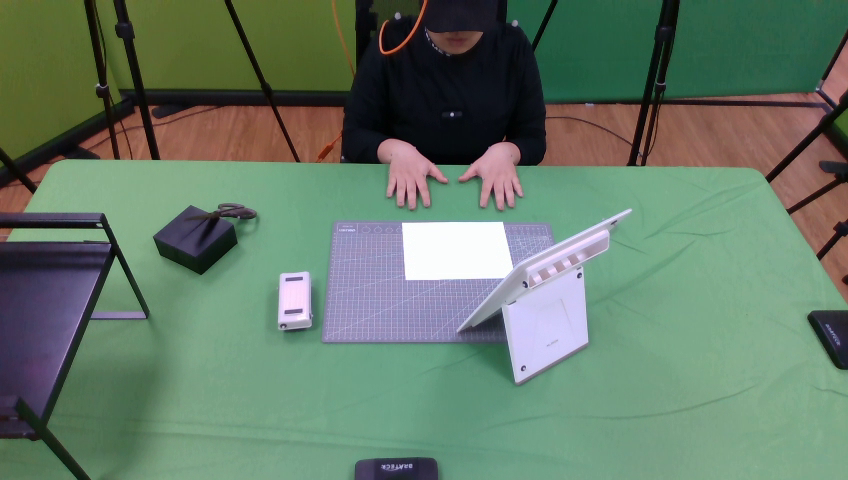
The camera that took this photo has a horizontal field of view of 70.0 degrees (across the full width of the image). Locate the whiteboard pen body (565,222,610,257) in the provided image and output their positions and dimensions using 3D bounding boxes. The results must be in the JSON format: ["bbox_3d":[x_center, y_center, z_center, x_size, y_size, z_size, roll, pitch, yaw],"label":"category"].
[{"bbox_3d":[0.335,-0.004,1.228,0.141,0.017,0.017,-32,56,-29],"label":"whiteboard pen body"}]

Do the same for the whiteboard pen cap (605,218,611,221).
[{"bbox_3d":[0.378,-0.031,1.255,0.033,0.018,0.018,-34,57,-30],"label":"whiteboard pen cap"}]

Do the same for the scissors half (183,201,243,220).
[{"bbox_3d":[-0.405,-0.054,1.163,0.040,0.013,0.175,28,18,7],"label":"scissors half"}]

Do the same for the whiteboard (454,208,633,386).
[{"bbox_3d":[0.211,0.111,0.954,0.217,0.306,0.143,-22,72,-24],"label":"whiteboard"}]

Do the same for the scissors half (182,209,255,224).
[{"bbox_3d":[-0.389,-0.043,1.158,0.040,0.013,0.175,39,21,23],"label":"scissors half"}]

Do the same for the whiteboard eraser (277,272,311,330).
[{"bbox_3d":[-0.228,0.108,1.062,0.056,0.042,0.112,-3,46,-9],"label":"whiteboard eraser"}]
